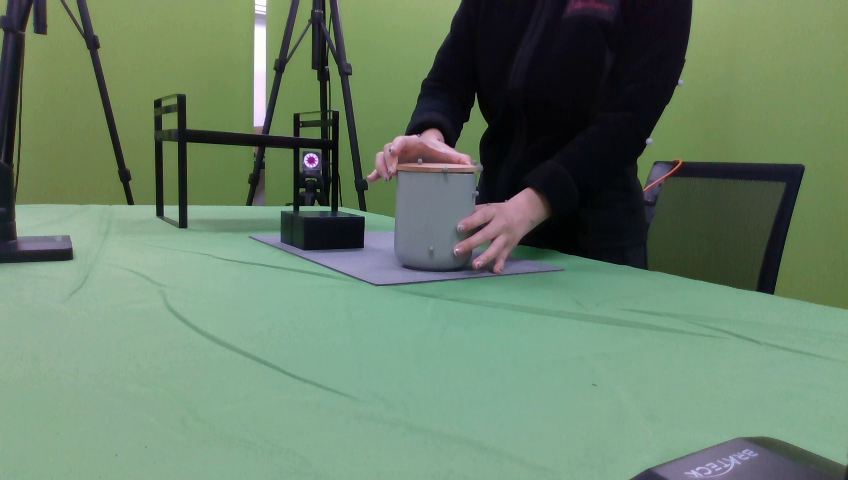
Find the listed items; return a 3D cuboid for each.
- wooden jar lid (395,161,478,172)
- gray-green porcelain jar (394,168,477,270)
[{"bbox_3d":[0.016,-0.091,0.785,0.108,0.020,0.108,2,11,0],"label":"wooden jar lid"},{"bbox_3d":[0.015,-0.029,0.793,0.106,0.126,0.106,2,7,0],"label":"gray-green porcelain jar"}]
